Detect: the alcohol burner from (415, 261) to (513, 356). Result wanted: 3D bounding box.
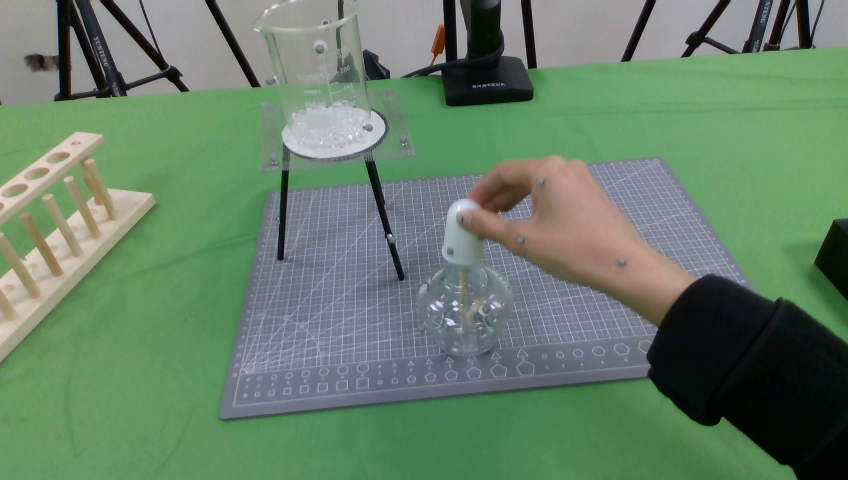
[{"bbox_3d":[0.031,0.033,0.471,0.078,0.120,0.077,-3,38,2],"label":"alcohol burner"}]

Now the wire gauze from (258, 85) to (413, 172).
[{"bbox_3d":[-0.079,-0.095,0.514,0.125,0.011,0.120,-11,39,-4],"label":"wire gauze"}]

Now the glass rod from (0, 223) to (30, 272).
[{"bbox_3d":[-0.394,-0.052,0.526,0.008,0.201,0.008,-6,34,4],"label":"glass rod"}]

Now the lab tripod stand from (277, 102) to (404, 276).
[{"bbox_3d":[-0.075,-0.046,0.556,0.148,0.133,0.147,-2,42,3],"label":"lab tripod stand"}]

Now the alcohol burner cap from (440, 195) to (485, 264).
[{"bbox_3d":[0.029,-0.010,0.434,0.034,0.048,0.033,1,38,-1],"label":"alcohol burner cap"}]

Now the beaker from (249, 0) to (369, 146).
[{"bbox_3d":[-0.086,-0.132,0.482,0.084,0.101,0.073,-9,40,-5],"label":"beaker"}]

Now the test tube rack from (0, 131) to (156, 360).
[{"bbox_3d":[-0.363,-0.003,0.568,0.066,0.086,0.240,8,41,13],"label":"test tube rack"}]
